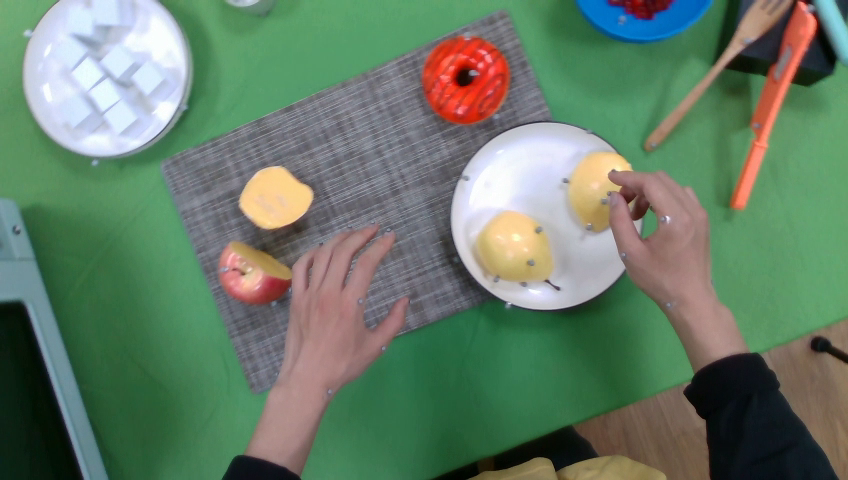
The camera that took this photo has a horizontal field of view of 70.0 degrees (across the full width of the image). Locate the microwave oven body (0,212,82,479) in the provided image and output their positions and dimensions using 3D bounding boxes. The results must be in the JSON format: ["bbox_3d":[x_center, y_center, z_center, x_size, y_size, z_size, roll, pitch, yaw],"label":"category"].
[{"bbox_3d":[-0.588,0.196,0.630,0.326,0.260,0.441,-20,89,5],"label":"microwave oven body"}]

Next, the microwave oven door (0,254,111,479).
[{"bbox_3d":[-0.438,0.187,0.611,0.039,0.244,0.355,-20,88,5],"label":"microwave oven door"}]

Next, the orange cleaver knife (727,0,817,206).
[{"bbox_3d":[0.357,-0.140,0.631,0.012,0.077,0.212,15,117,11],"label":"orange cleaver knife"}]

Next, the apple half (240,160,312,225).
[{"bbox_3d":[-0.171,-0.048,0.699,0.081,0.033,0.080,2,68,-5],"label":"apple half"}]

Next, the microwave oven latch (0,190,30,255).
[{"bbox_3d":[-0.498,-0.020,0.717,0.030,0.029,0.079,-18,89,5],"label":"microwave oven latch"}]

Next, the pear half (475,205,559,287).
[{"bbox_3d":[0.109,0.013,0.660,0.110,0.056,0.076,41,99,1],"label":"pear half"}]

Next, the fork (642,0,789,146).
[{"bbox_3d":[0.303,-0.181,0.634,0.028,0.018,0.208,36,114,-3],"label":"fork"}]

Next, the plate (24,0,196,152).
[{"bbox_3d":[-0.368,-0.206,0.723,0.207,0.039,0.207,0,90,6],"label":"plate"}]

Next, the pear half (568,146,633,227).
[{"bbox_3d":[0.186,-0.056,0.652,0.070,0.031,0.088,15,103,30],"label":"pear half"}]

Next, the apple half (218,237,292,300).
[{"bbox_3d":[-0.196,0.038,0.686,0.081,0.074,0.053,32,97,1],"label":"apple half"}]

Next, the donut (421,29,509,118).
[{"bbox_3d":[0.046,-0.186,0.676,0.099,0.048,0.099,0,92,8],"label":"donut"}]

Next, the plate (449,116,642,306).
[{"bbox_3d":[0.132,-0.031,0.672,0.209,0.038,0.209,0,90,5],"label":"plate"}]

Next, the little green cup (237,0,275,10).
[{"bbox_3d":[-0.200,-0.301,0.706,0.061,0.038,0.061,0,90,6],"label":"little green cup"}]

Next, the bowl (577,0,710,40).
[{"bbox_3d":[0.227,-0.279,0.646,0.151,0.077,0.151,0,91,5],"label":"bowl"}]

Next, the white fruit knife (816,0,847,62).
[{"bbox_3d":[0.396,-0.273,0.611,0.027,0.016,0.207,-19,86,-24],"label":"white fruit knife"}]
